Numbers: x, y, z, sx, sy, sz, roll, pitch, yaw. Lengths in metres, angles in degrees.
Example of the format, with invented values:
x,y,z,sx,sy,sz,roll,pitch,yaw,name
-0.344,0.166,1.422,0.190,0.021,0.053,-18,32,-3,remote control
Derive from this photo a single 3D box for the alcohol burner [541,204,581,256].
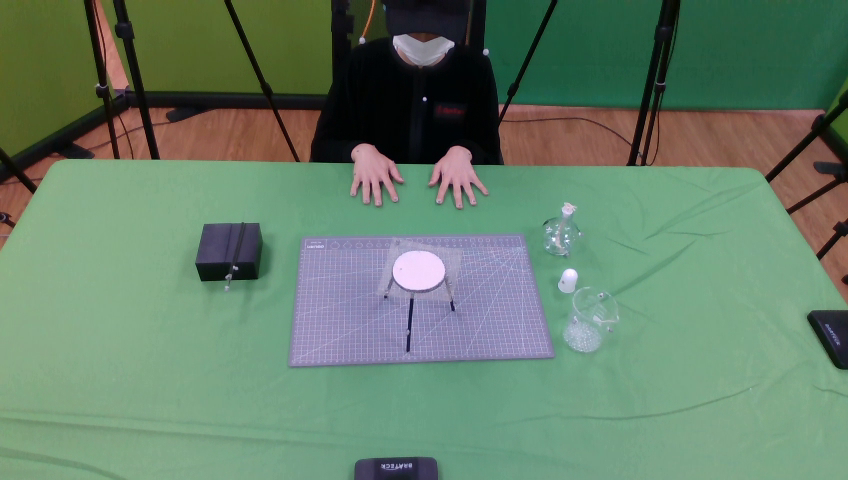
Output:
x,y,z,sx,sy,sz,roll,pitch,yaw,name
0.271,-0.026,1.182,0.078,0.119,0.077,4,46,-3,alcohol burner

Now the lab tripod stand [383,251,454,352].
x,y,z,sx,sy,sz,roll,pitch,yaw,name
-0.015,0.094,1.025,0.148,0.132,0.147,1,46,-1,lab tripod stand

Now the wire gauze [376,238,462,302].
x,y,z,sx,sy,sz,roll,pitch,yaw,name
-0.006,0.048,0.977,0.121,0.011,0.124,9,46,5,wire gauze

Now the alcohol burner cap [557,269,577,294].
x,y,z,sx,sy,sz,roll,pitch,yaw,name
0.270,0.075,1.135,0.034,0.048,0.033,2,46,-2,alcohol burner cap

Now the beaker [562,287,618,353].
x,y,z,sx,sy,sz,roll,pitch,yaw,name
0.281,0.140,1.032,0.083,0.101,0.074,33,53,24,beaker

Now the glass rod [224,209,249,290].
x,y,z,sx,sy,sz,roll,pitch,yaw,name
-0.340,0.013,1.102,0.008,0.008,0.198,2,45,-3,glass rod
